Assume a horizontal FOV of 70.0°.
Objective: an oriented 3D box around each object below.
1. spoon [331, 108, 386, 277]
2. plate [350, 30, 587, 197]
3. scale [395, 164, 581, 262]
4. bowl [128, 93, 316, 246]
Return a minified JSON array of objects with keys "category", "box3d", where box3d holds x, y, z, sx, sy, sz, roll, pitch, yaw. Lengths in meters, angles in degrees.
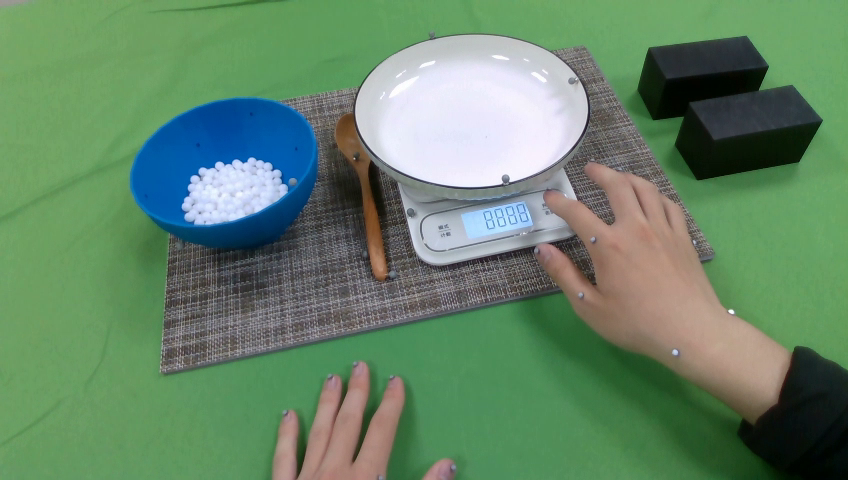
[{"category":"spoon","box3d":[-0.056,-0.049,0.549,0.042,0.022,0.191,-3,52,-15]},{"category":"plate","box3d":[0.039,-0.113,0.544,0.209,0.038,0.207,-1,53,2]},{"category":"scale","box3d":[0.045,-0.076,0.557,0.149,0.032,0.198,-12,53,-5]},{"category":"bowl","box3d":[-0.161,-0.048,0.520,0.151,0.077,0.150,-2,53,2]}]
